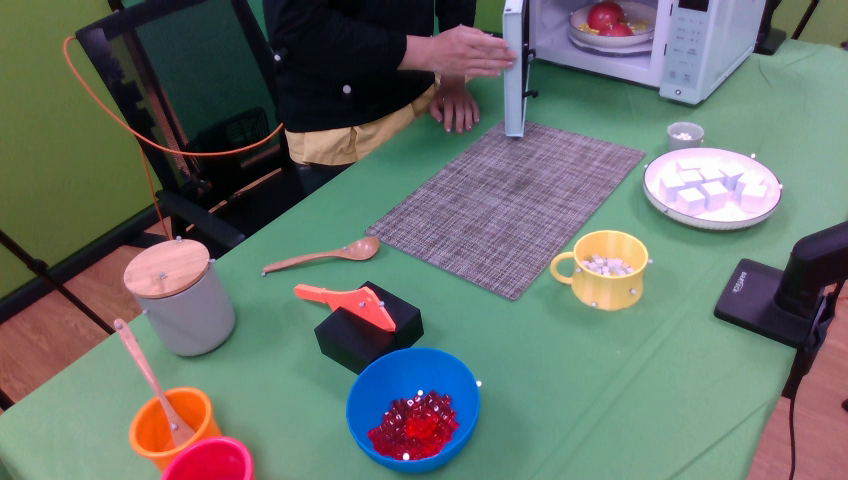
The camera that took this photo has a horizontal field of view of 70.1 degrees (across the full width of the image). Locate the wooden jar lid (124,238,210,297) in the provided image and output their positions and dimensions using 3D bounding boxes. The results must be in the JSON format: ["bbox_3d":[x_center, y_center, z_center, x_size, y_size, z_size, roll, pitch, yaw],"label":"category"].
[{"bbox_3d":[-0.335,0.039,0.794,0.108,0.021,0.108,-2,40,2],"label":"wooden jar lid"}]

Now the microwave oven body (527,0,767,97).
[{"bbox_3d":[0.473,-0.516,1.313,0.438,0.261,0.327,26,51,34],"label":"microwave oven body"}]

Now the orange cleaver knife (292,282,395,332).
[{"bbox_3d":[-0.116,0.091,0.835,0.209,0.077,0.012,2,32,48],"label":"orange cleaver knife"}]

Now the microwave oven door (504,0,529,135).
[{"bbox_3d":[0.190,-0.411,1.224,0.039,0.245,0.354,2,42,11],"label":"microwave oven door"}]

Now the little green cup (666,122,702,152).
[{"bbox_3d":[0.471,-0.184,1.102,0.061,0.039,0.061,-5,41,5],"label":"little green cup"}]

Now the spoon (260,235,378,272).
[{"bbox_3d":[-0.168,0.024,0.966,0.194,0.022,0.041,-10,59,-3],"label":"spoon"}]

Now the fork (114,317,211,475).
[{"bbox_3d":[-0.309,0.180,0.708,0.028,0.018,0.207,-29,89,-26],"label":"fork"}]

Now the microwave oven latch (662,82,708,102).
[{"bbox_3d":[0.517,-0.298,1.202,0.078,0.029,0.030,27,52,34],"label":"microwave oven latch"}]

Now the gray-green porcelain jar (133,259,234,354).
[{"bbox_3d":[-0.328,0.087,0.836,0.106,0.127,0.105,-4,41,4],"label":"gray-green porcelain jar"}]

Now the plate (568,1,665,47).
[{"bbox_3d":[0.431,-0.486,1.367,0.209,0.038,0.208,-4,41,4],"label":"plate"}]

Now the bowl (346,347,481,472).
[{"bbox_3d":[-0.008,0.205,0.691,0.151,0.077,0.150,-4,40,4],"label":"bowl"}]

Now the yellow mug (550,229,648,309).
[{"bbox_3d":[0.245,0.040,0.857,0.130,0.064,0.099,1,42,11],"label":"yellow mug"}]

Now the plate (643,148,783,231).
[{"bbox_3d":[0.464,-0.079,0.986,0.207,0.039,0.206,-4,40,4],"label":"plate"}]

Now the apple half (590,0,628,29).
[{"bbox_3d":[0.418,-0.522,1.378,0.081,0.054,0.074,-41,38,-16],"label":"apple half"}]

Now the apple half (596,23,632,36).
[{"bbox_3d":[0.417,-0.460,1.328,0.081,0.033,0.081,-2,38,2],"label":"apple half"}]
